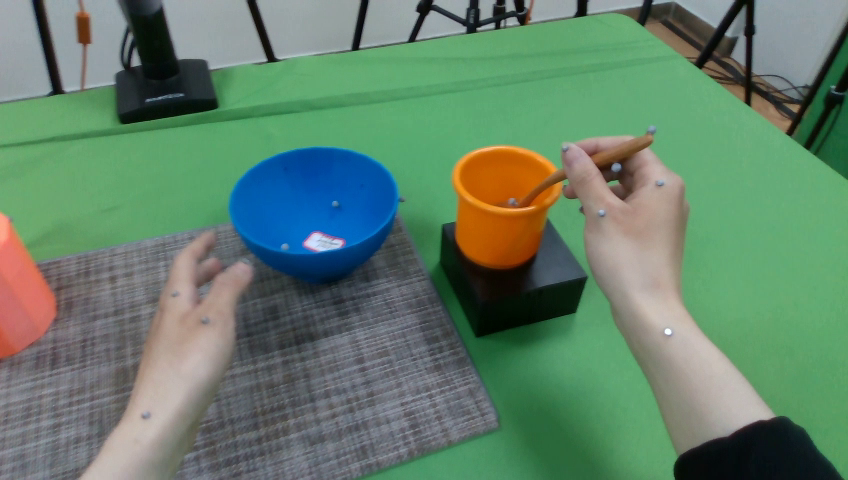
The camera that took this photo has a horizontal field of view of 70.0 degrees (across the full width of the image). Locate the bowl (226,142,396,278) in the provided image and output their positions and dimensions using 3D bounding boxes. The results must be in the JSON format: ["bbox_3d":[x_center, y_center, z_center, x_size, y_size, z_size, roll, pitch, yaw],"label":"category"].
[{"bbox_3d":[-0.101,-0.017,0.568,0.151,0.077,0.150,2,45,-1],"label":"bowl"}]

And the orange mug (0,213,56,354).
[{"bbox_3d":[-0.374,0.021,0.502,0.083,0.101,0.125,-19,53,-20],"label":"orange mug"}]

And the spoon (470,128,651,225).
[{"bbox_3d":[0.096,-0.047,0.473,0.022,0.193,0.041,41,60,-12],"label":"spoon"}]
